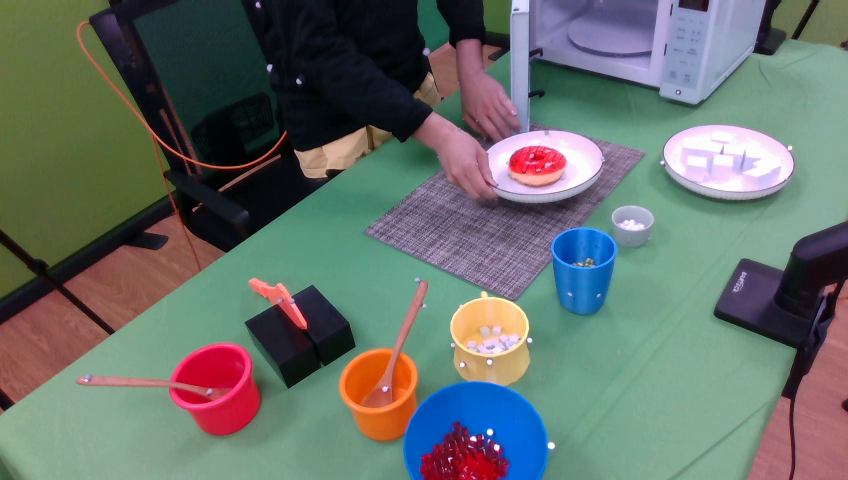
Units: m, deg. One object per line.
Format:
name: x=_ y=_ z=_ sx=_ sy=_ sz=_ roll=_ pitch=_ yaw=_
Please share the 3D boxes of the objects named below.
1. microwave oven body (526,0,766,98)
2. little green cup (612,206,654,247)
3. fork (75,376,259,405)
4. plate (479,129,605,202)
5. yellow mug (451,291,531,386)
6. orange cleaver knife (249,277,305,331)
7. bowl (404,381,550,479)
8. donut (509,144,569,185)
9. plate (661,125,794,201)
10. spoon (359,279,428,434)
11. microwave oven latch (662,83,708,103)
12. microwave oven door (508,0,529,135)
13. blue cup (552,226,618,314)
microwave oven body: x=0.472 y=-0.513 z=1.317 sx=0.438 sy=0.261 sz=0.327 roll=26 pitch=51 yaw=34
little green cup: x=0.321 y=-0.019 z=0.936 sx=0.061 sy=0.039 sz=0.061 roll=-4 pitch=41 yaw=4
fork: x=-0.295 y=0.176 z=0.716 sx=0.209 sy=0.018 sz=0.028 roll=19 pitch=27 yaw=-36
plate: x=0.198 y=-0.121 z=1.022 sx=0.209 sy=0.038 sz=0.208 roll=-7 pitch=37 yaw=6
yellow mug: x=0.085 y=0.120 z=0.786 sx=0.100 sy=0.064 sz=0.130 roll=-7 pitch=39 yaw=1
orange cleaver knife: x=-0.210 y=0.088 z=0.856 sx=0.012 sy=0.077 sz=0.210 roll=-28 pitch=15 yaw=-25
bowl: x=0.058 y=0.235 z=0.645 sx=0.151 sy=0.077 sz=0.150 roll=-4 pitch=39 yaw=4
donut: x=0.192 y=-0.128 z=1.013 sx=0.099 sy=0.048 sz=0.098 roll=-6 pitch=35 yaw=5
plate: x=0.513 y=-0.128 z=1.035 sx=0.207 sy=0.039 sz=0.206 roll=-4 pitch=40 yaw=4
spoon: x=-0.032 y=0.138 z=0.719 sx=0.041 sy=0.193 sz=0.022 roll=22 pitch=4 yaw=30
microwave oven latch: x=0.517 y=-0.296 z=1.204 sx=0.078 sy=0.029 sz=0.030 roll=27 pitch=52 yaw=35
microwave oven door: x=0.194 y=-0.407 z=1.226 sx=0.039 sy=0.245 sz=0.354 roll=0 pitch=41 yaw=10
blue cup: x=0.217 y=0.047 z=0.825 sx=0.092 sy=0.100 sz=0.092 roll=-6 pitch=40 yaw=5
